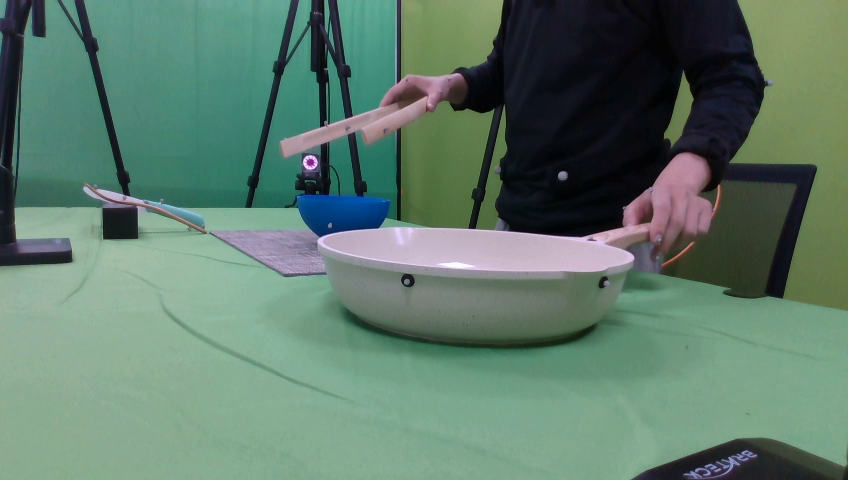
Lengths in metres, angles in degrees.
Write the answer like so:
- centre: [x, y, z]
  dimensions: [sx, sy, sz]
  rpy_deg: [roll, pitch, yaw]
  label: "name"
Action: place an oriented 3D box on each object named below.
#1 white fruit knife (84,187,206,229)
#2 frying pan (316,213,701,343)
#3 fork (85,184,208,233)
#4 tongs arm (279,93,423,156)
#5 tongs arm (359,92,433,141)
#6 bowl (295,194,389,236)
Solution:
- centre: [-0.488, -0.059, 1.071]
  dimensions: [0.208, 0.027, 0.016]
  rpy_deg: [17, 4, -33]
  label: "white fruit knife"
- centre: [0.133, 0.013, 0.629]
  dimensions: [0.490, 0.102, 0.305]
  rpy_deg: [-12, 14, -30]
  label: "frying pan"
- centre: [-0.462, -0.051, 1.019]
  dimensions: [0.208, 0.018, 0.028]
  rpy_deg: [22, -11, -37]
  label: "fork"
- centre: [-0.105, -0.203, 1.032]
  dimensions: [0.050, 0.026, 0.386]
  rpy_deg: [-7, 18, 30]
  label: "tongs arm"
- centre: [-0.036, -0.211, 0.999]
  dimensions: [0.028, 0.028, 0.388]
  rpy_deg: [-14, 15, 20]
  label: "tongs arm"
- centre: [-0.132, -0.032, 0.980]
  dimensions: [0.151, 0.077, 0.151]
  rpy_deg: [2, 7, 0]
  label: "bowl"
